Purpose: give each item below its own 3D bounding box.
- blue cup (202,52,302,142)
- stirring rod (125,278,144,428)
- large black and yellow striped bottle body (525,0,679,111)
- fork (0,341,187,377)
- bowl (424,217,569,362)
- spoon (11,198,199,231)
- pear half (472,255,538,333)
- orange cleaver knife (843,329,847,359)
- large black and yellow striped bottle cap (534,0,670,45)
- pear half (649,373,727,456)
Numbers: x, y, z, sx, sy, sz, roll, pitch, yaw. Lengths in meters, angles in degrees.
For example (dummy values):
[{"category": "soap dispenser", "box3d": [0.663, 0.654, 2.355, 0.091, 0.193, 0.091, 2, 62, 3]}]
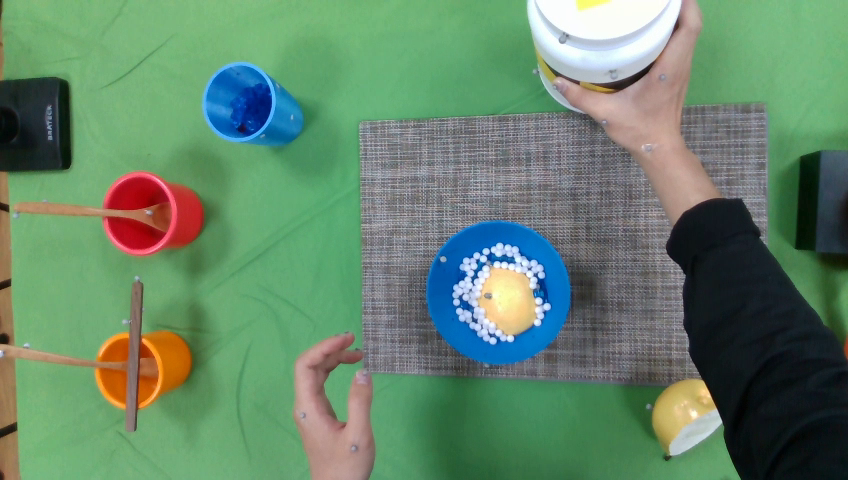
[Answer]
[{"category": "blue cup", "box3d": [-0.188, -0.151, 0.694, 0.092, 0.100, 0.092, 0, 91, 12]}, {"category": "stirring rod", "box3d": [-0.336, 0.132, 0.703, 0.014, 0.006, 0.176, 5, 93, 7]}, {"category": "large black and yellow striped bottle body", "box3d": [0.164, -0.209, 0.567, 0.130, 0.185, 0.130, -1, 85, 14]}, {"category": "fork", "box3d": [-0.387, 0.139, 0.714, 0.209, 0.018, 0.028, 16, 105, -34]}, {"category": "bowl", "box3d": [0.080, 0.051, 0.660, 0.151, 0.077, 0.151, 0, 92, 11]}, {"category": "spoon", "box3d": [-0.366, -0.036, 0.709, 0.195, 0.021, 0.041, 4, 95, -33]}, {"category": "pear half", "box3d": [0.084, 0.057, 0.654, 0.070, 0.031, 0.087, -26, 83, 8]}, {"category": "orange cleaver knife", "box3d": [0.439, 0.021, 0.598, 0.012, 0.077, 0.213, 2, 121, 16]}, {"category": "large black and yellow striped bottle cap", "box3d": [0.144, -0.215, 0.486, 0.114, 0.019, 0.115, -1, 87, 16]}, {"category": "pear half", "box3d": [0.271, 0.188, 0.650, 0.077, 0.055, 0.110, -2, 127, -21]}]
